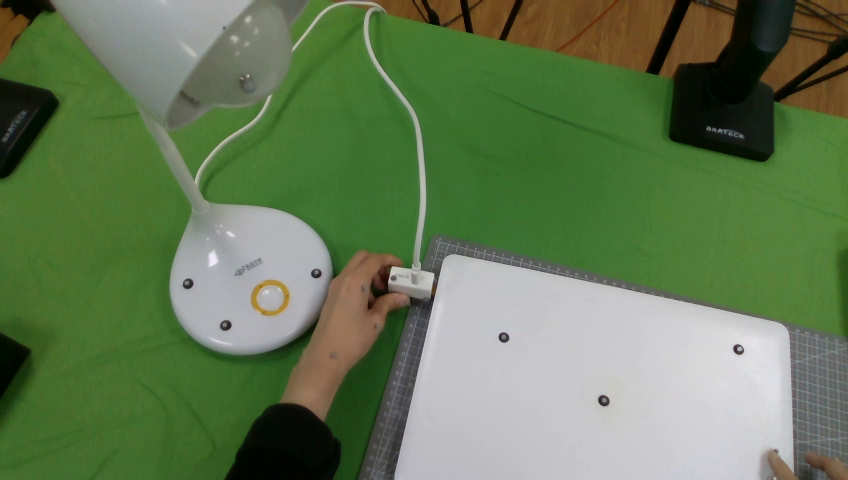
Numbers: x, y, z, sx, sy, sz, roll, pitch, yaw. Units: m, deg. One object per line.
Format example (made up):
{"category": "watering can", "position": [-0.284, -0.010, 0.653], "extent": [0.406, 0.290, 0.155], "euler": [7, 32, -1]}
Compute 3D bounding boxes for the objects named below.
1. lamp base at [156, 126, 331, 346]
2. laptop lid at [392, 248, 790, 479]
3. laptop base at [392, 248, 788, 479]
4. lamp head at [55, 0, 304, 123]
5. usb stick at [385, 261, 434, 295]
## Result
{"category": "lamp base", "position": [-0.183, -0.011, 0.551], "extent": [0.178, 0.181, 0.160], "euler": [40, 68, 19]}
{"category": "laptop lid", "position": [0.165, 0.144, 0.568], "extent": [0.356, 0.013, 0.240], "euler": [13, 67, 4]}
{"category": "laptop base", "position": [0.165, 0.148, 0.580], "extent": [0.354, 0.023, 0.234], "euler": [12, 68, 3]}
{"category": "lamp head", "position": [-0.124, -0.131, 0.275], "extent": [0.123, 0.112, 0.112], "euler": [41, 67, -9]}
{"category": "usb stick", "position": [-0.009, 0.039, 0.612], "extent": [0.059, 0.027, 0.021], "euler": [10, 54, 2]}
